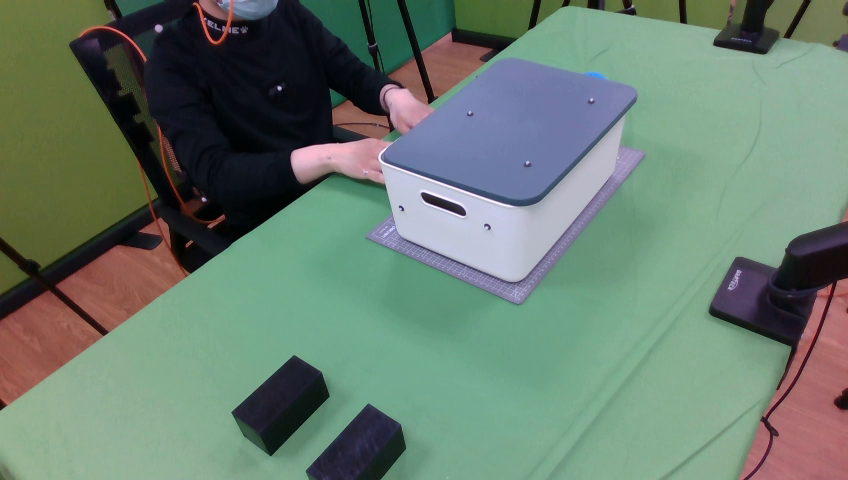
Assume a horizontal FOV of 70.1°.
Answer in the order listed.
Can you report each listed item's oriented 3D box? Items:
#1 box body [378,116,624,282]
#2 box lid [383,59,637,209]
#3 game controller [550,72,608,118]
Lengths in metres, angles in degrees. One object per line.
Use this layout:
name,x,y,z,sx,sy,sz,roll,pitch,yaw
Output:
box body,0.137,-0.121,0.978,0.252,0.161,0.365,22,49,30
box lid,0.141,-0.182,0.928,0.261,0.015,0.372,23,48,29
game controller,0.326,-0.306,1.260,0.096,0.052,0.155,13,45,17
